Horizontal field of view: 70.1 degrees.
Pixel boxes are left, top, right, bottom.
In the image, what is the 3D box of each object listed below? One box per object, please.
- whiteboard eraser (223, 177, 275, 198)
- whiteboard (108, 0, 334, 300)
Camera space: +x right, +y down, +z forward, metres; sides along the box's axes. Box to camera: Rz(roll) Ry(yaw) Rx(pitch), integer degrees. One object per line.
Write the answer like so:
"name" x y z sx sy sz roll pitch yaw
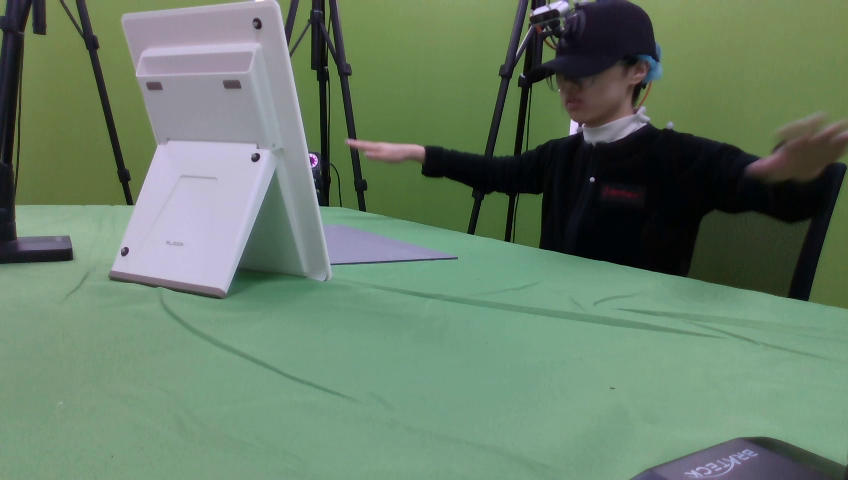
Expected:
"whiteboard eraser" -0.377 -0.113 1.308 0.055 0.042 0.113 7 11 20
"whiteboard" -0.248 -0.072 0.624 0.216 0.305 0.144 6 28 26
